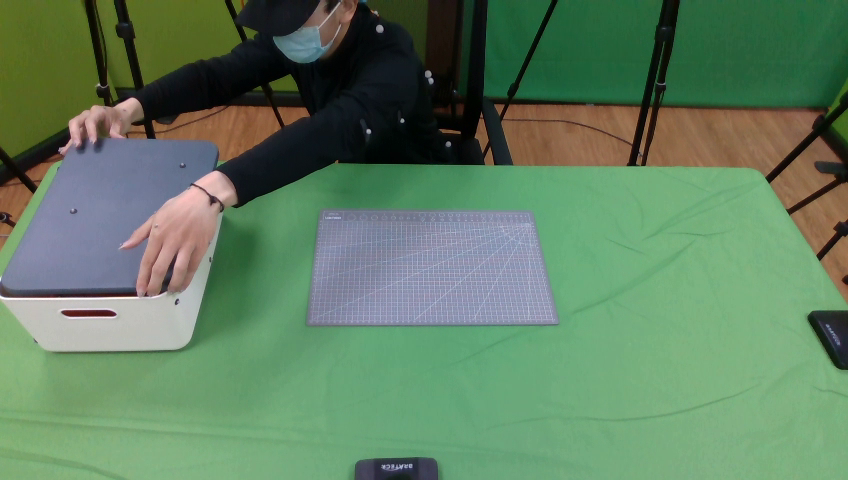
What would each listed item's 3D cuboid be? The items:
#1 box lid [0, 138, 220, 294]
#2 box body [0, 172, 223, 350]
[{"bbox_3d":[-0.498,-0.056,1.007,0.263,0.015,0.369,0,45,-7],"label":"box lid"},{"bbox_3d":[-0.510,0.008,1.054,0.254,0.161,0.361,-1,46,-4],"label":"box body"}]
